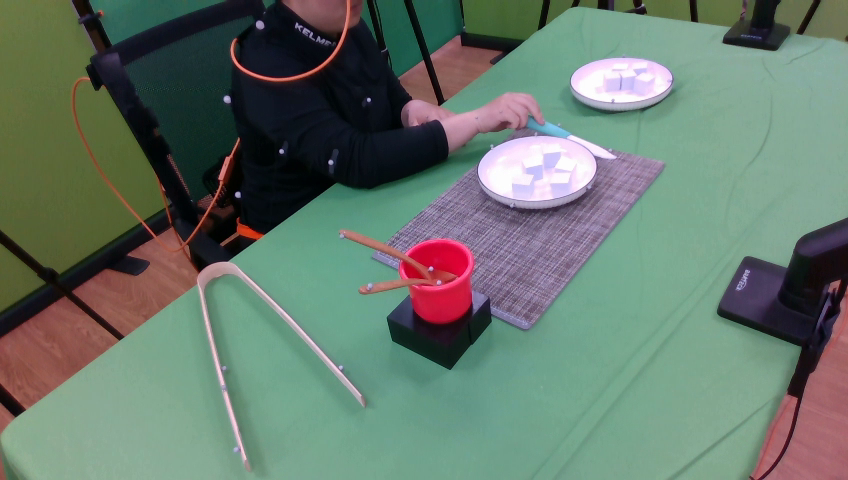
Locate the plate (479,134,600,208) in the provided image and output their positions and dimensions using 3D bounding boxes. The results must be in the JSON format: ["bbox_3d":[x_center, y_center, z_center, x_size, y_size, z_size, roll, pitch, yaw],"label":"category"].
[{"bbox_3d":[0.202,-0.117,1.065,0.207,0.039,0.206,-5,40,5],"label":"plate"}]

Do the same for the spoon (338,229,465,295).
[{"bbox_3d":[-0.025,0.026,0.776,0.021,0.195,0.041,-41,34,31],"label":"spoon"}]

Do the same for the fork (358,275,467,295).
[{"bbox_3d":[-0.009,0.056,0.739,0.028,0.018,0.209,48,23,26],"label":"fork"}]

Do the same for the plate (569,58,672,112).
[{"bbox_3d":[0.411,-0.323,1.274,0.209,0.038,0.208,-5,41,5],"label":"plate"}]

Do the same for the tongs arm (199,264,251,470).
[{"bbox_3d":[-0.270,0.154,0.841,0.051,0.026,0.381,-23,40,-17],"label":"tongs arm"}]

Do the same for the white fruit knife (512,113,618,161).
[{"bbox_3d":[0.263,-0.193,1.129,0.206,0.016,0.027,27,85,15],"label":"white fruit knife"}]

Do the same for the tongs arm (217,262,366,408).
[{"bbox_3d":[-0.201,0.123,0.871,0.028,0.028,0.384,-35,46,-25],"label":"tongs arm"}]
